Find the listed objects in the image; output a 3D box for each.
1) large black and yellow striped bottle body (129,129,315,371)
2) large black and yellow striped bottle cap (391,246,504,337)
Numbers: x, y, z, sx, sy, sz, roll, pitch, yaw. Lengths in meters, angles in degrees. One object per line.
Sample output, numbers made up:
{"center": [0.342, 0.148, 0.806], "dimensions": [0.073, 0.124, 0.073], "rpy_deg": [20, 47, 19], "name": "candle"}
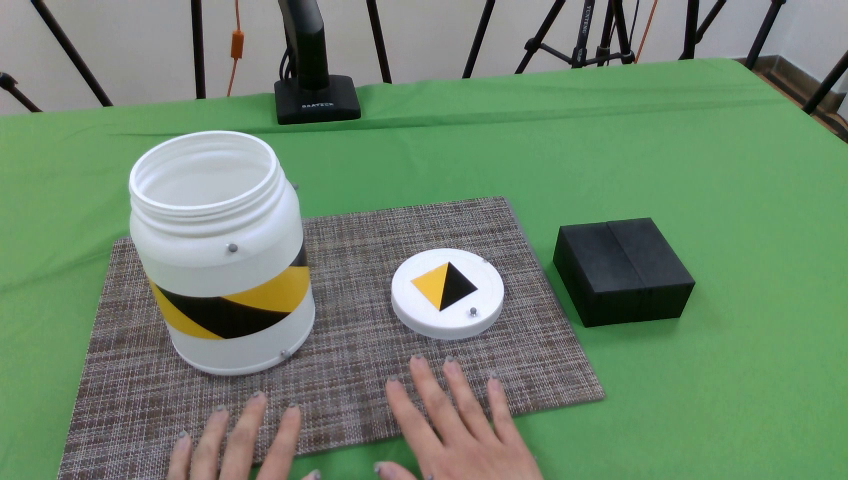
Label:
{"center": [-0.169, 0.010, 0.523], "dimensions": [0.131, 0.185, 0.129], "rpy_deg": [1, 42, 0], "name": "large black and yellow striped bottle body"}
{"center": [0.024, 0.049, 0.613], "dimensions": [0.115, 0.019, 0.114], "rpy_deg": [0, 41, 0], "name": "large black and yellow striped bottle cap"}
